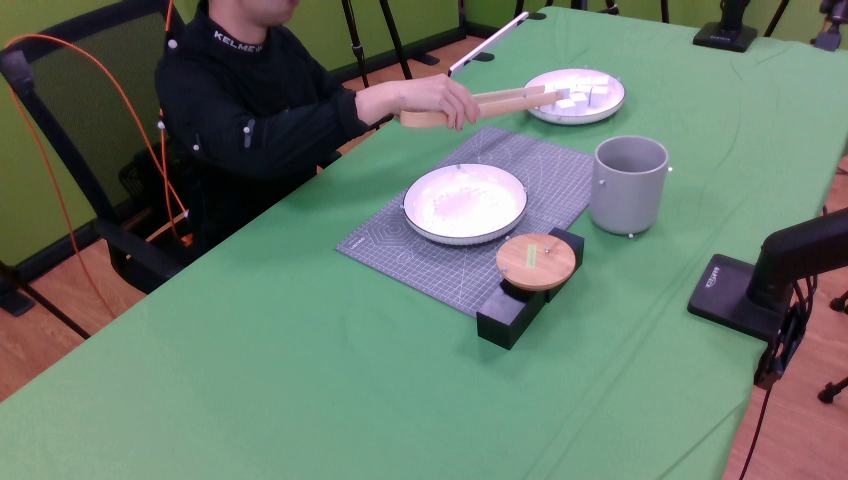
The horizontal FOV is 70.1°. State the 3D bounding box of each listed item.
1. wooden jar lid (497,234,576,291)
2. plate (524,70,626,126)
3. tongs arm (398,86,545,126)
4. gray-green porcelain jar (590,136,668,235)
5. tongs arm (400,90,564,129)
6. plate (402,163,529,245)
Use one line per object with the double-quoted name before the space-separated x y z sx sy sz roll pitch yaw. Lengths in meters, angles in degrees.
"wooden jar lid" 0.155 0.032 0.834 0.108 0.021 0.108 -5 40 5
"plate" 0.308 -0.290 1.251 0.207 0.039 0.206 -4 40 4
"tongs arm" 0.101 -0.259 1.143 0.390 0.028 0.028 -18 37 -36
"gray-green porcelain jar" 0.314 -0.080 0.937 0.106 0.127 0.105 -4 40 4
"tongs arm" 0.120 -0.247 1.121 0.387 0.026 0.050 -19 35 -37
"plate" 0.069 -0.056 1.008 0.209 0.038 0.208 -4 40 4
